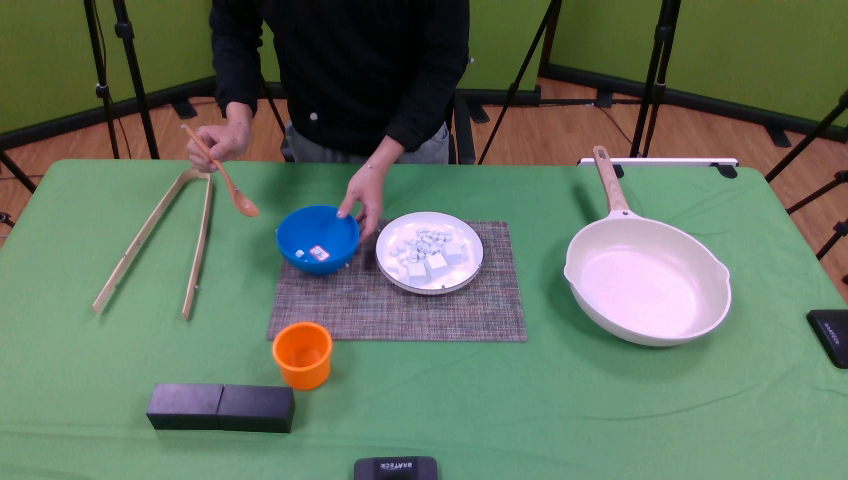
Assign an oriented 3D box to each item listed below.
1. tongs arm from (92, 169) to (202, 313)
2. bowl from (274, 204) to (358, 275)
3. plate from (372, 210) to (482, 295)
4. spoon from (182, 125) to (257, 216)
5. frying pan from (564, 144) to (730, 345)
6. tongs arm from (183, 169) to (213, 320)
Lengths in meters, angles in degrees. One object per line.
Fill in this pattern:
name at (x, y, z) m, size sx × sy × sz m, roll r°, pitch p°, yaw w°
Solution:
tongs arm at (-0.518, -0.012, 1.161) m, size 0.051 × 0.026 × 0.382 m, roll 7°, pitch 45°, yaw 1°
bowl at (-0.197, 0.012, 1.126) m, size 0.151 × 0.077 × 0.150 m, roll 2°, pitch 46°, yaw -2°
plate at (0.005, 0.028, 1.155) m, size 0.208 × 0.039 × 0.206 m, roll 3°, pitch 46°, yaw -2°
spoon at (-0.356, -0.120, 1.057) m, size 0.021 × 0.194 × 0.041 m, roll -23°, pitch 20°, yaw 21°
frying pan at (0.396, -0.008, 1.179) m, size 0.307 × 0.103 × 0.484 m, roll 0°, pitch 55°, yaw -5°
tongs arm at (-0.436, -0.006, 1.166) m, size 0.028 × 0.028 × 0.385 m, roll -5°, pitch 46°, yaw -6°
